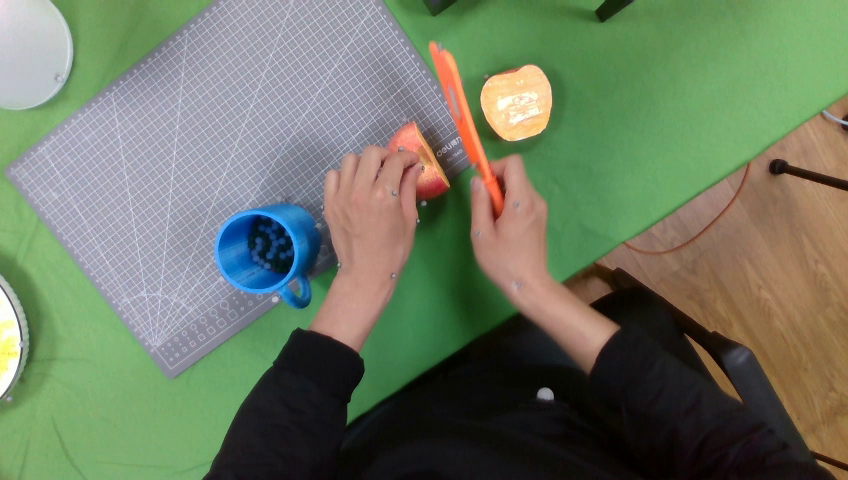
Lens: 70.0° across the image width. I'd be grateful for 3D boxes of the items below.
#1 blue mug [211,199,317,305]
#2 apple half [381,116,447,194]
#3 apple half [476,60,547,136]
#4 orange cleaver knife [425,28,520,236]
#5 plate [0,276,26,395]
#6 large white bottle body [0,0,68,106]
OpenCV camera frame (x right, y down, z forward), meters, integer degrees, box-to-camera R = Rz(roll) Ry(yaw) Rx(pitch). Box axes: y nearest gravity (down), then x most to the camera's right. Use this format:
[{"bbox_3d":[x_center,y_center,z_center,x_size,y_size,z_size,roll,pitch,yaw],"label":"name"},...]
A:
[{"bbox_3d":[-0.155,0.016,0.635,0.082,0.105,0.117,-27,97,4],"label":"blue mug"},{"bbox_3d":[-0.017,-0.083,0.634,0.053,0.074,0.081,-30,101,9],"label":"apple half"},{"bbox_3d":[0.090,-0.150,0.645,0.081,0.032,0.081,-3,106,-12],"label":"apple half"},{"bbox_3d":[0.047,-0.103,0.587,0.012,0.076,0.213,-25,111,-3],"label":"orange cleaver knife"},{"bbox_3d":[-0.553,0.100,0.688,0.209,0.038,0.209,0,99,1],"label":"plate"},{"bbox_3d":[-0.449,-0.199,0.567,0.130,0.184,0.131,0,98,1],"label":"large white bottle body"}]
